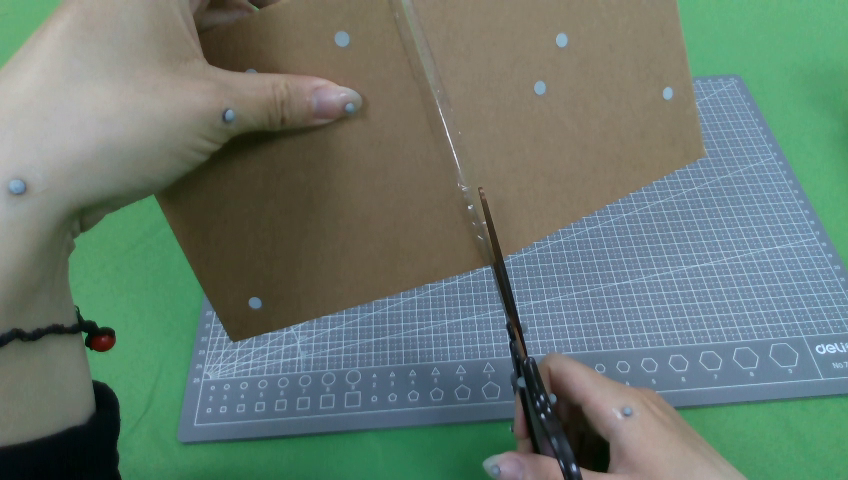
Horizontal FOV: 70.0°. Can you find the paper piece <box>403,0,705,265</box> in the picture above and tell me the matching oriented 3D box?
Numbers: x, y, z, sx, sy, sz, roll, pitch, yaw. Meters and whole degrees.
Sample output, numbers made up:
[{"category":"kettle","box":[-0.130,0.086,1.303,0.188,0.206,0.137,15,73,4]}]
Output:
[{"category":"paper piece","box":[0.067,-0.076,0.275,0.136,0.136,0.004,-25,18,-17]}]

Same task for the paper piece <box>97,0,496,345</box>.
[{"category":"paper piece","box":[-0.054,-0.028,0.266,0.138,0.136,0.008,-16,15,11]}]

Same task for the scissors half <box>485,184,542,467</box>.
[{"category":"scissors half","box":[0.046,0.050,0.304,0.013,0.177,0.039,-16,33,-2]}]

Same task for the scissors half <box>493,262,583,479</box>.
[{"category":"scissors half","box":[0.049,0.055,0.281,0.013,0.040,0.175,-17,90,-7]}]
